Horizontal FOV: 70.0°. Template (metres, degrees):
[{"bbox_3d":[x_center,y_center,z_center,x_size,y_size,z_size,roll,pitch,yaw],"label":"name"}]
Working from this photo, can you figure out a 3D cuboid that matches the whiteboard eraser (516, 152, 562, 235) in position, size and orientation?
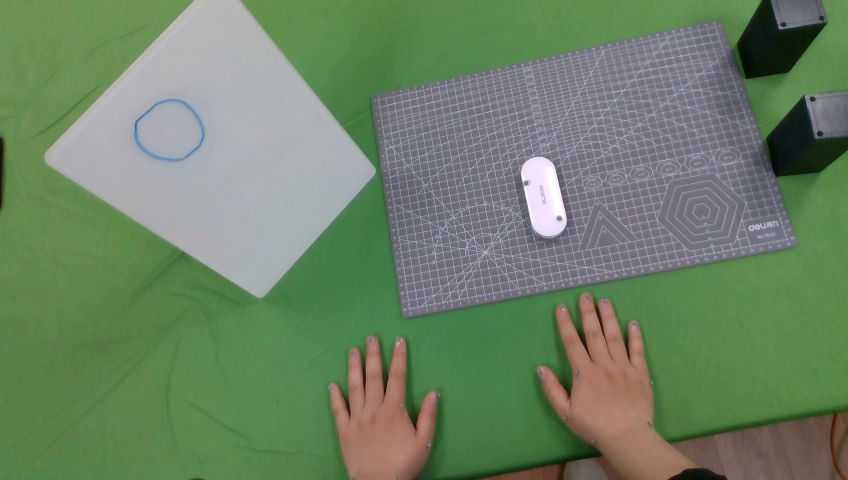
[{"bbox_3d":[0.136,-0.056,0.716,0.041,0.019,0.100,-11,75,5],"label":"whiteboard eraser"}]

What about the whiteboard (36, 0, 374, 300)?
[{"bbox_3d":[-0.236,-0.109,0.671,0.217,0.309,0.142,-49,54,-6],"label":"whiteboard"}]
